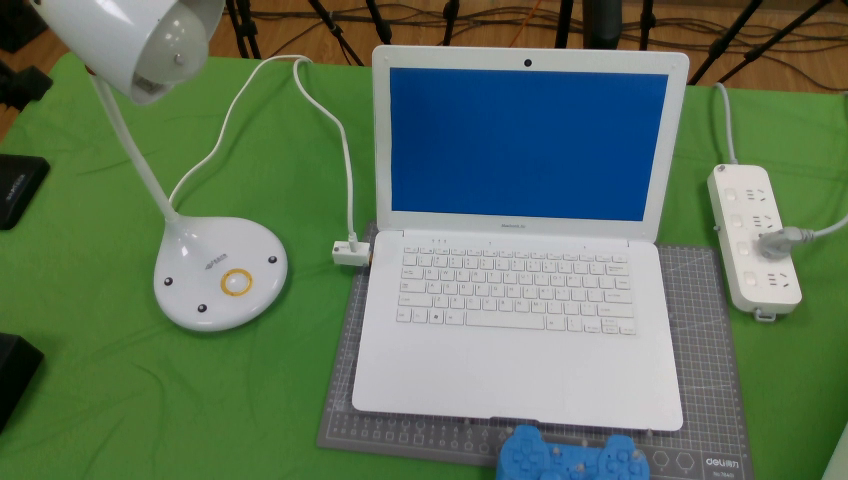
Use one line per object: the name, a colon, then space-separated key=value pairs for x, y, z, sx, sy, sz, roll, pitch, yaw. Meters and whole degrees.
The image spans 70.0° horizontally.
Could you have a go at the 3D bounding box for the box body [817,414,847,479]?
box body: x=0.559 y=0.180 z=0.550 sx=0.252 sy=0.162 sz=0.363 roll=35 pitch=64 yaw=22

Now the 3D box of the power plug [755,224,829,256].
power plug: x=0.433 y=0.007 z=0.719 sx=0.072 sy=0.053 sz=0.035 roll=14 pitch=57 yaw=9

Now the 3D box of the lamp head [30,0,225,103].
lamp head: x=-0.224 y=-0.176 z=0.435 sx=0.123 sy=0.112 sz=0.112 roll=33 pitch=60 yaw=-5

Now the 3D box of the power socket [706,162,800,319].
power socket: x=0.407 y=-0.010 z=0.758 sx=0.072 sy=0.033 sz=0.224 roll=4 pitch=56 yaw=3

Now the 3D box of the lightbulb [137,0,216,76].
lightbulb: x=-0.193 y=-0.169 z=0.431 sx=0.059 sy=0.059 sz=0.108 roll=-32 pitch=100 yaw=-18

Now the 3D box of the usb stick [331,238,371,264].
usb stick: x=-0.084 y=0.014 z=0.751 sx=0.059 sy=0.027 sz=0.021 roll=7 pitch=51 yaw=3

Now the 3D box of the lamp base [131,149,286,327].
lamp base: x=-0.265 y=-0.013 z=0.693 sx=0.178 sy=0.182 sz=0.160 roll=28 pitch=61 yaw=22

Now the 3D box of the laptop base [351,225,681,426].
laptop base: x=0.104 y=0.092 z=0.708 sx=0.354 sy=0.023 sz=0.233 roll=3 pitch=60 yaw=3

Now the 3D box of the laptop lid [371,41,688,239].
laptop lid: x=0.114 y=-0.110 z=0.720 sx=0.356 sy=0.243 sz=0.013 roll=1 pitch=26 yaw=4

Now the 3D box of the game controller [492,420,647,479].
game controller: x=0.145 y=0.232 z=0.598 sx=0.155 sy=0.052 sz=0.096 roll=5 pitch=55 yaw=5
